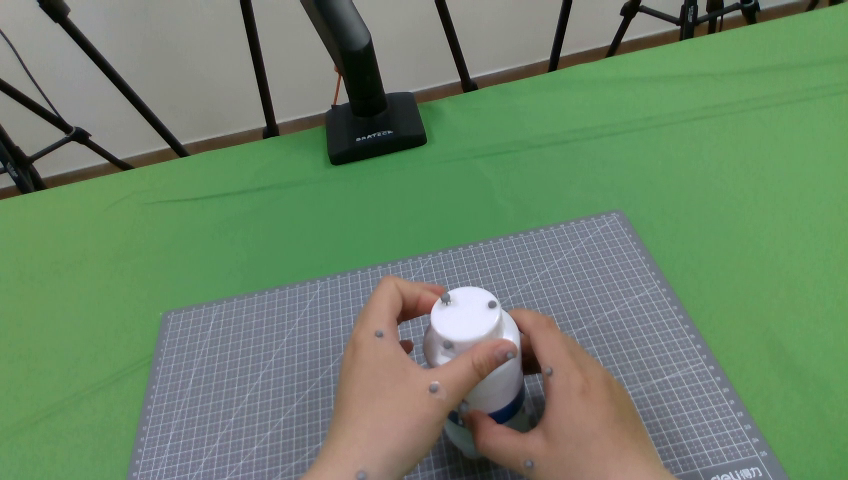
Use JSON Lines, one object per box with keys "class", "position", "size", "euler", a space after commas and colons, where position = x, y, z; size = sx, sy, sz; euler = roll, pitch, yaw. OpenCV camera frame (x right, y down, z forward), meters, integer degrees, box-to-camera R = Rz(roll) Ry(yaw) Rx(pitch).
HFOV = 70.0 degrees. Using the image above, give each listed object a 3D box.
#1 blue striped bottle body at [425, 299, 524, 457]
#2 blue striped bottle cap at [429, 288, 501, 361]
{"class": "blue striped bottle body", "position": [0.035, 0.088, 0.403], "size": [0.063, 0.122, 0.062], "euler": [-3, 43, 4]}
{"class": "blue striped bottle cap", "position": [0.026, 0.051, 0.369], "size": [0.044, 0.021, 0.044], "euler": [-7, 41, 6]}
